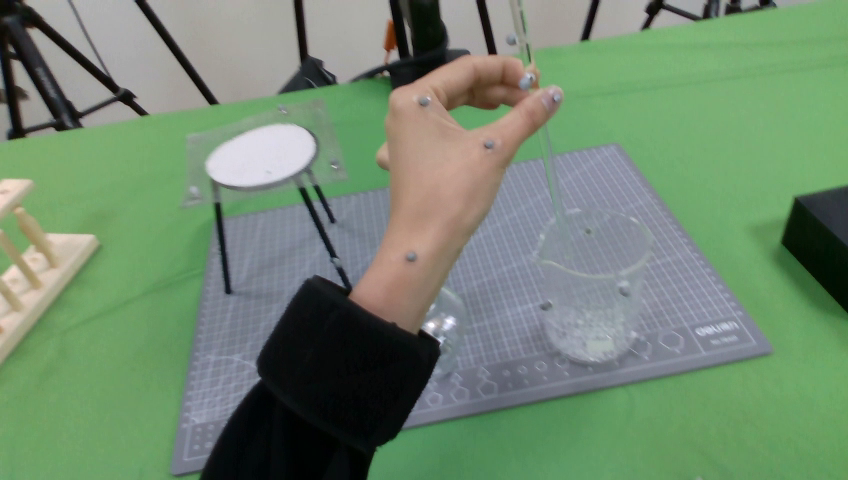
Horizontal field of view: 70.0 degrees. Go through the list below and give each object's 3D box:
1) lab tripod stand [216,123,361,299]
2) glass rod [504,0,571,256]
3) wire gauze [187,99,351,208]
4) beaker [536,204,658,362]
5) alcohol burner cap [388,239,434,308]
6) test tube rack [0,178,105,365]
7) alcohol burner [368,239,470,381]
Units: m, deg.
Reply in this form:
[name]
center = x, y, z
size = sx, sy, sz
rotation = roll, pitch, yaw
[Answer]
[lab tripod stand]
center = -0.120, -0.021, 0.532
size = 0.148, 0.133, 0.147
rotation = -5, 43, 5
[glass rod]
center = 0.068, -0.056, 0.349
size = 0.008, 0.202, 0.008
rotation = -12, 45, 13
[wire gauze]
center = -0.128, -0.071, 0.487
size = 0.125, 0.011, 0.120
rotation = -15, 41, -5
[beaker]
center = 0.124, 0.036, 0.448
size = 0.084, 0.101, 0.073
rotation = -13, 41, -4
[alcohol burner cap]
center = -0.011, 0.022, 0.423
size = 0.034, 0.048, 0.033
rotation = -4, 39, 3
[test tube rack]
center = -0.402, 0.049, 0.543
size = 0.066, 0.086, 0.240
rotation = 2, 42, 12
[alcohol burner]
center = -0.006, 0.048, 0.448
size = 0.078, 0.120, 0.077
rotation = -6, 39, 5
